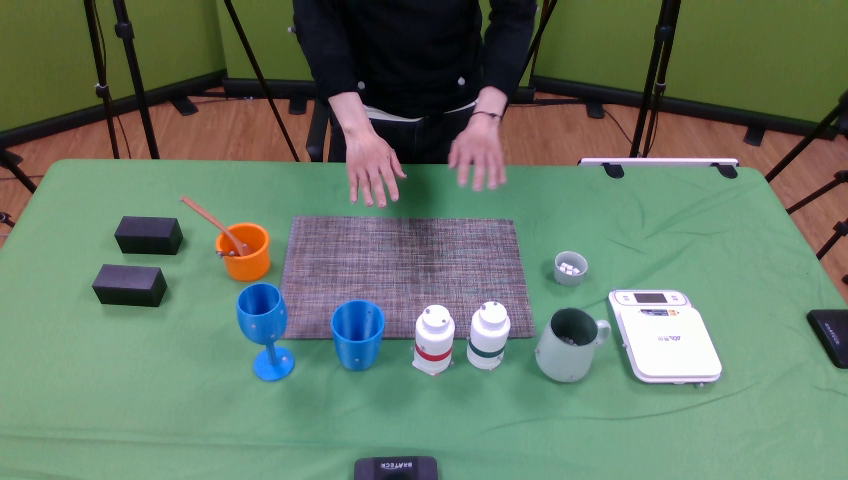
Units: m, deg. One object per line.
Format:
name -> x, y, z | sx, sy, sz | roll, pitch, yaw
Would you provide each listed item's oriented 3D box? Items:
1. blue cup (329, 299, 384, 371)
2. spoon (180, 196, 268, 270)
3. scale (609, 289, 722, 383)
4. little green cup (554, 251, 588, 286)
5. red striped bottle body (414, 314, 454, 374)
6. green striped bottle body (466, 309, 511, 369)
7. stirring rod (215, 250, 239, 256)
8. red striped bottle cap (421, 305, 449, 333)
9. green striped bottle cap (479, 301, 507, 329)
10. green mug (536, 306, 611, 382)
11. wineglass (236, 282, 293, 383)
blue cup -> -0.109, 0.160, 0.979 | 0.093, 0.101, 0.092 | 4, 45, -3
spoon -> -0.360, -0.014, 1.094 | 0.021, 0.194, 0.041 | -28, 26, 31
scale -> 0.419, 0.159, 1.066 | 0.149, 0.032, 0.199 | 1, 46, -4
little green cup -> 0.277, 0.055, 1.151 | 0.061, 0.039, 0.061 | 1, 46, -1
red striped bottle body -> 0.016, 0.158, 0.977 | 0.063, 0.120, 0.062 | 1, 46, -1
green striped bottle body -> 0.105, 0.154, 0.987 | 0.063, 0.120, 0.063 | 2, 46, -2
stirring rod -> -0.339, 0.024, 1.059 | 0.014, 0.176, 0.006 | 16, 86, -6
red striped bottle cap -> 0.018, 0.122, 0.938 | 0.044, 0.018, 0.044 | 3, 44, -2
green striped bottle cap -> 0.109, 0.118, 0.950 | 0.044, 0.020, 0.044 | 2, 47, -2
green mug -> 0.250, 0.167, 0.996 | 0.125, 0.105, 0.092 | -15, 49, -18
wineglass -> -0.243, 0.143, 0.934 | 0.074, 0.173, 0.073 | 2, 46, -2
